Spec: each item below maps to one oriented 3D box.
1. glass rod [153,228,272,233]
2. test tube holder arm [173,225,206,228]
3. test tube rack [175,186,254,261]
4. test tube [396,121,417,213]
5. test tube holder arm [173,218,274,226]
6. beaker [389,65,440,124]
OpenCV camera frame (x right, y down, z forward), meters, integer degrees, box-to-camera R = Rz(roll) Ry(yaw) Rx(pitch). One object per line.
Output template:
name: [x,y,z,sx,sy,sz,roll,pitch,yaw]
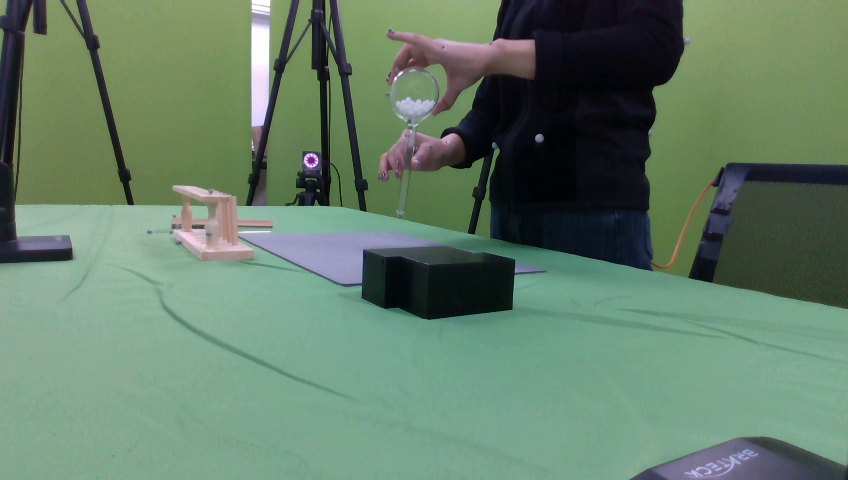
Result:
glass rod: [-0.368,-0.017,1.065,0.201,0.008,0.008,-2,8,-27]
test tube holder arm: [-0.414,-0.030,1.113,0.088,0.015,0.010,-1,-21,-25]
test tube rack: [-0.314,-0.031,0.889,0.067,0.085,0.241,-2,8,-30]
test tube: [-0.028,-0.115,0.967,0.017,0.150,0.017,8,18,-2]
test tube holder arm: [-0.371,-0.033,1.128,0.179,0.015,0.013,-1,-21,-25]
beaker: [-0.015,-0.215,0.894,0.074,0.084,0.100,-2,9,-3]
